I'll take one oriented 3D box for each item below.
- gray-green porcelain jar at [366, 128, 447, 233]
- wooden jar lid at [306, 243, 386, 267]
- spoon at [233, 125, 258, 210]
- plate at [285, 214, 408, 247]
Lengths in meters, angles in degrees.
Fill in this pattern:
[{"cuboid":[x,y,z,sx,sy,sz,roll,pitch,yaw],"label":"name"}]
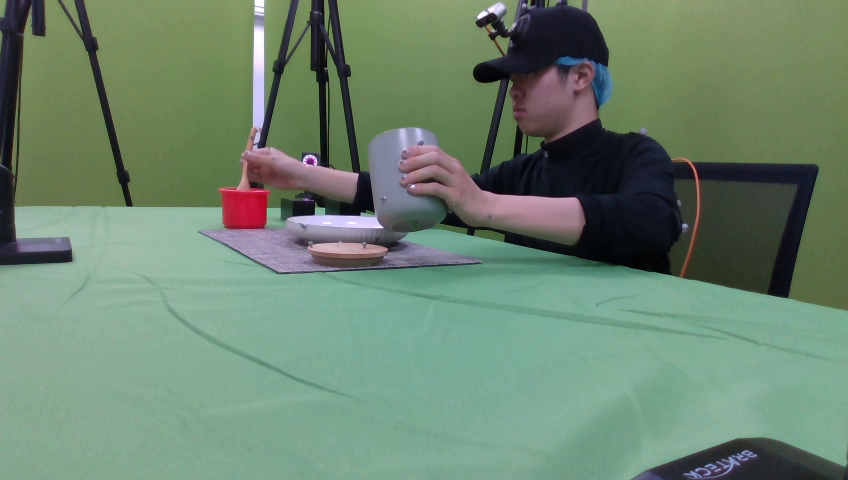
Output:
[{"cuboid":[-0.024,-0.081,0.864,0.106,0.126,0.106,-8,-15,-2],"label":"gray-green porcelain jar"},{"cuboid":[-0.105,0.020,0.816,0.108,0.020,0.108,1,7,0],"label":"wooden jar lid"},{"cuboid":[-0.354,-0.149,1.207,0.021,0.193,0.042,-12,-28,22],"label":"spoon"},{"cuboid":[-0.127,-0.015,1.012,0.208,0.039,0.207,3,7,0],"label":"plate"}]
